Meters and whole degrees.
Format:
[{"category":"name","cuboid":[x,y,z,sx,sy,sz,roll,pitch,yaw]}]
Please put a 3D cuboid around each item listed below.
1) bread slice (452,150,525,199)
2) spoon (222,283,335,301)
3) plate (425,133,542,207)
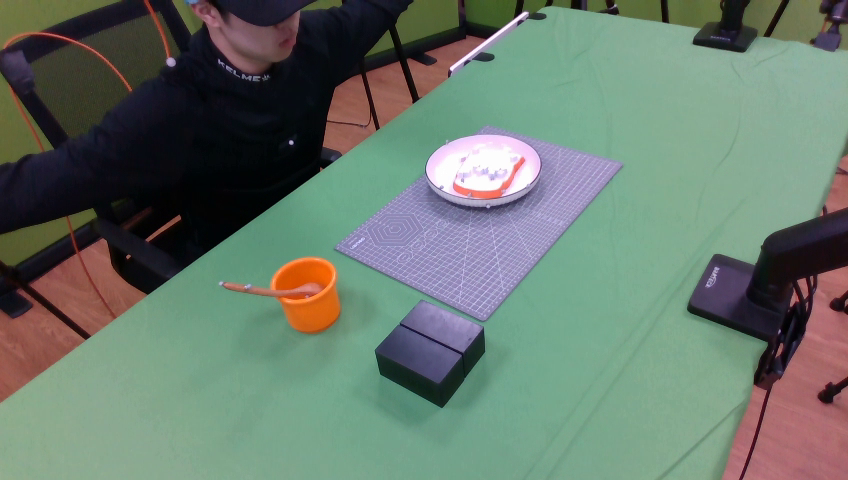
[{"category":"bread slice","cuboid":[0.112,-0.118,1.079,0.104,0.019,0.131,11,43,21]},{"category":"spoon","cuboid":[-0.188,0.070,0.810,0.041,0.021,0.195,29,12,33]},{"category":"plate","cuboid":[0.106,-0.121,1.079,0.209,0.038,0.208,-4,41,4]}]
